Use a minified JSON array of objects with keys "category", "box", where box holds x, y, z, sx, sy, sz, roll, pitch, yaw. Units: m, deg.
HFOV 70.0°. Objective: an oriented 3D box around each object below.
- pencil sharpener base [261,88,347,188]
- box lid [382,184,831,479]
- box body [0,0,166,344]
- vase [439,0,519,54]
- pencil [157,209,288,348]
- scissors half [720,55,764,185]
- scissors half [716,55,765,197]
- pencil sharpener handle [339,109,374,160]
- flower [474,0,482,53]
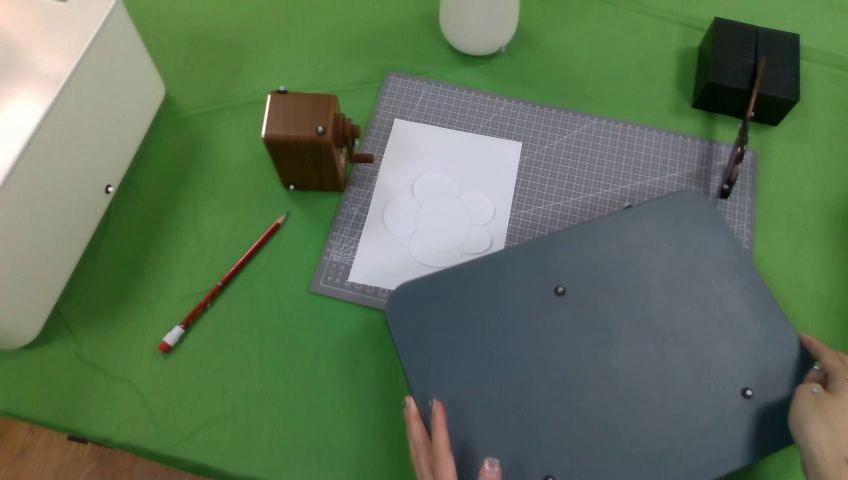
[{"category":"pencil sharpener base","box":[-0.121,-0.105,0.648,0.077,0.108,0.061,2,65,0]},{"category":"box lid","box":[0.170,0.104,0.565,0.372,0.015,0.261,-18,71,-11]},{"category":"box body","box":[-0.461,-0.098,0.610,0.254,0.161,0.362,14,67,6]},{"category":"vase","box":[0.067,-0.309,0.688,0.098,0.201,0.097,0,65,1]},{"category":"pencil","box":[-0.208,0.036,0.639,0.012,0.012,0.193,33,69,14]},{"category":"scissors half","box":[0.352,-0.135,0.661,0.013,0.040,0.174,19,68,17]},{"category":"scissors half","box":[0.357,-0.129,0.680,0.012,0.040,0.175,18,85,22]},{"category":"pencil sharpener handle","box":[-0.070,-0.107,0.636,0.030,0.068,0.035,2,60,0]},{"category":"flower","box":[0.064,-0.356,0.618,0.044,0.365,0.038,7,49,7]}]
